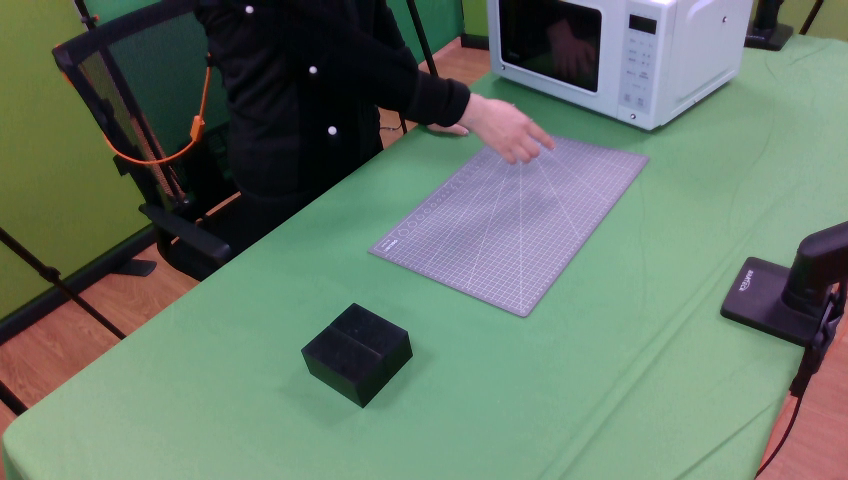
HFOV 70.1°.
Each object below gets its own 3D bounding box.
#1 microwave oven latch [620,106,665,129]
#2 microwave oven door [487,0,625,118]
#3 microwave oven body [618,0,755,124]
[{"bbox_3d":[0.412,-0.237,1.146,0.030,0.029,0.078,-32,44,-24],"label":"microwave oven latch"},{"bbox_3d":[0.262,-0.409,1.221,0.039,0.245,0.352,-33,45,-25],"label":"microwave oven door"},{"bbox_3d":[0.402,-0.458,1.259,0.327,0.261,0.437,-33,45,-24],"label":"microwave oven body"}]
